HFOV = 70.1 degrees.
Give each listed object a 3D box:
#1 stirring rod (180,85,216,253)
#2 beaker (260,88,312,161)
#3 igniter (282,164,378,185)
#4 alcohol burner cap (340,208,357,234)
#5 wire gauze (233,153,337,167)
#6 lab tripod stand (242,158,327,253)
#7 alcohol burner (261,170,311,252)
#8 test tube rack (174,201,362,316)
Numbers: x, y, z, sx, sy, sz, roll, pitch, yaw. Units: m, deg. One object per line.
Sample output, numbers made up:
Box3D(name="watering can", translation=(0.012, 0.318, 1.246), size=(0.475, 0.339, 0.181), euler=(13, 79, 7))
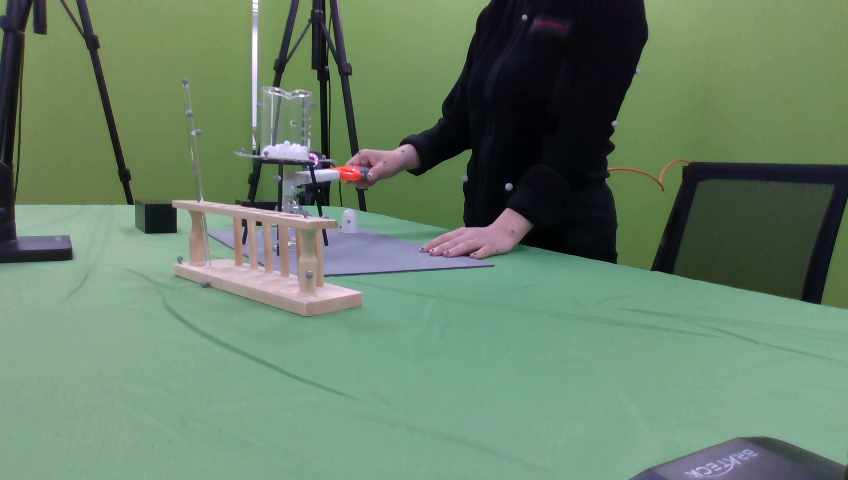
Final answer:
Box3D(name="stirring rod", translation=(-0.237, -0.073, 0.634), size=(0.006, 0.176, 0.014), euler=(0, 10, 42))
Box3D(name="beaker", translation=(-0.200, -0.166, 0.876), size=(0.074, 0.100, 0.083), euler=(1, 7, -18))
Box3D(name="igniter", translation=(-0.150, -0.112, 1.025), size=(0.057, 0.025, 0.277), euler=(9, 12, 19))
Box3D(name="alcohol burner cap", translation=(-0.142, -0.035, 1.136), size=(0.034, 0.048, 0.034), euler=(2, 6, 0))
Box3D(name="wire gauze", translation=(-0.205, -0.119, 0.887), size=(0.122, 0.011, 0.124), euler=(2, 4, -32))
Box3D(name="lab tripod stand", translation=(-0.207, -0.054, 0.895), size=(0.148, 0.131, 0.148), euler=(2, 5, 0))
Box3D(name="alcohol burner", translation=(-0.200, -0.043, 0.891), size=(0.078, 0.119, 0.078), euler=(1, 6, 0))
Box3D(name="test tube rack", translation=(-0.169, 0.009, 0.622), size=(0.241, 0.085, 0.067), euler=(9, 9, 41))
